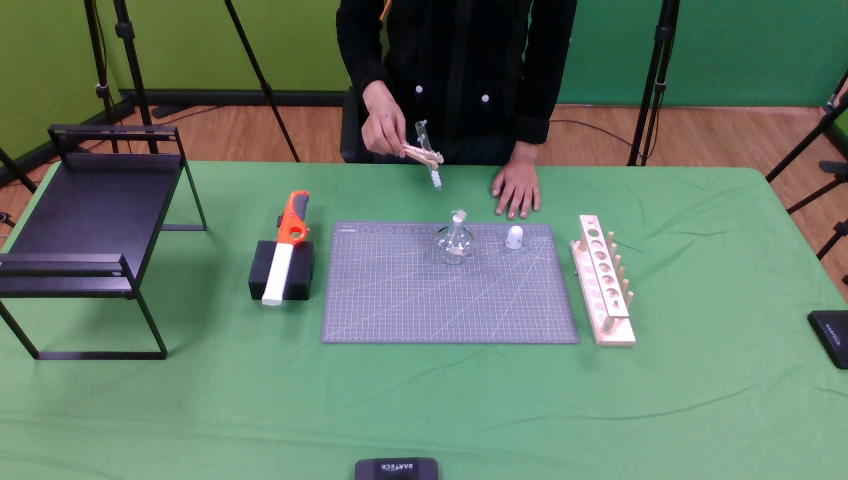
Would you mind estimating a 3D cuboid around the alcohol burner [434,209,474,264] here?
[{"bbox_3d":[0.058,-0.011,1.147,0.078,0.119,0.077,3,45,-3],"label":"alcohol burner"}]

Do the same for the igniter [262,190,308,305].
[{"bbox_3d":[-0.252,0.004,1.107,0.057,0.025,0.275,7,47,-6],"label":"igniter"}]

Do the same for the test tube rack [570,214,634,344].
[{"bbox_3d":[0.333,0.067,1.116,0.067,0.085,0.241,1,46,-3],"label":"test tube rack"}]

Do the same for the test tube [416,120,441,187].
[{"bbox_3d":[0.008,-0.148,1.063,0.017,0.151,0.017,-8,49,10],"label":"test tube"}]

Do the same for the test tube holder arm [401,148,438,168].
[{"bbox_3d":[-0.009,-0.149,1.078,0.087,0.015,0.010,31,67,37],"label":"test tube holder arm"}]

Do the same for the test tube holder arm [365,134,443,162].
[{"bbox_3d":[-0.039,-0.168,1.106,0.177,0.015,0.013,22,61,34],"label":"test tube holder arm"}]

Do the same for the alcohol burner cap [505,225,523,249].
[{"bbox_3d":[0.180,-0.009,1.203,0.034,0.048,0.033,2,47,-2],"label":"alcohol burner cap"}]
